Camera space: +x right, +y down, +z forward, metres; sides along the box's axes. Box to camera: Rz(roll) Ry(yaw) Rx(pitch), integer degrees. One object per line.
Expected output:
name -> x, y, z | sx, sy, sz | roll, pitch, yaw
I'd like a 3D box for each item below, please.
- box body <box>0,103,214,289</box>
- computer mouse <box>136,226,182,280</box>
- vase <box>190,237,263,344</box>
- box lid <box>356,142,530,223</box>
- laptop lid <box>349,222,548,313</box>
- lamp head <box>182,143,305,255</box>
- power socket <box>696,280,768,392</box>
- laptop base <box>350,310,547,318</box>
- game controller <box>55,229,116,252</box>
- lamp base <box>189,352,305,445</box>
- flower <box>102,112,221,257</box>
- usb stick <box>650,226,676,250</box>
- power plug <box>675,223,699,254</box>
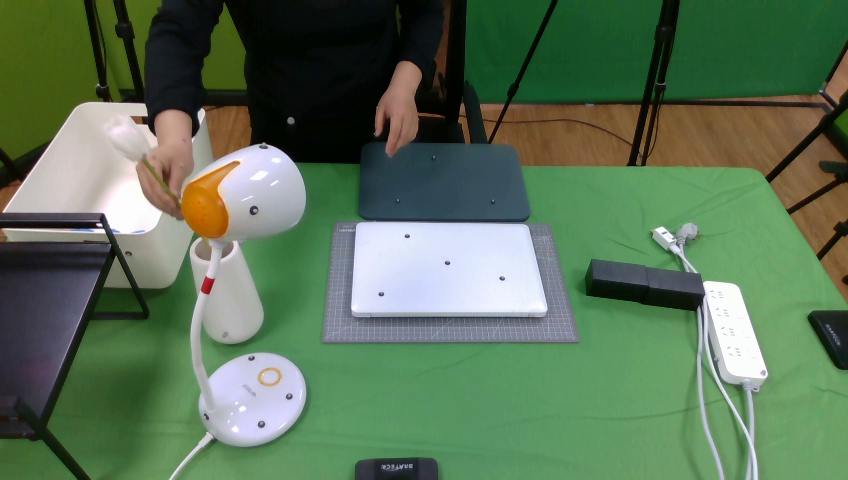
box body -> -0.563, -0.087, 1.139 | 0.254, 0.161, 0.361 | 2, 46, -3
computer mouse -> -0.488, 0.020, 1.117 | 0.063, 0.041, 0.116 | 1, 55, -6
vase -> -0.317, 0.081, 0.971 | 0.098, 0.201, 0.097 | 3, 47, -3
box lid -> 0.040, -0.132, 1.339 | 0.372, 0.015, 0.261 | 0, 46, -4
laptop lid -> 0.042, 0.046, 1.142 | 0.357, 0.013, 0.240 | 2, 44, -3
lamp head -> -0.216, -0.044, 0.697 | 0.112, 0.113, 0.123 | 23, 31, 17
power socket -> 0.543, 0.160, 1.077 | 0.072, 0.033, 0.225 | 5, 47, 2
laptop base -> 0.041, 0.056, 1.149 | 0.355, 0.023, 0.234 | 0, 42, -4
game controller -> -0.597, 0.011, 1.116 | 0.155, 0.052, 0.096 | 1, 48, -1
lamp base -> -0.268, 0.196, 0.876 | 0.160, 0.181, 0.179 | 25, 52, 19
flower -> -0.332, -0.030, 0.858 | 0.038, 0.364, 0.044 | -13, 49, 5
usb stick -> 0.485, -0.008, 1.238 | 0.021, 0.027, 0.059 | -23, 44, -13
power plug -> 0.537, 0.000, 1.243 | 0.053, 0.035, 0.072 | 19, 82, -17
